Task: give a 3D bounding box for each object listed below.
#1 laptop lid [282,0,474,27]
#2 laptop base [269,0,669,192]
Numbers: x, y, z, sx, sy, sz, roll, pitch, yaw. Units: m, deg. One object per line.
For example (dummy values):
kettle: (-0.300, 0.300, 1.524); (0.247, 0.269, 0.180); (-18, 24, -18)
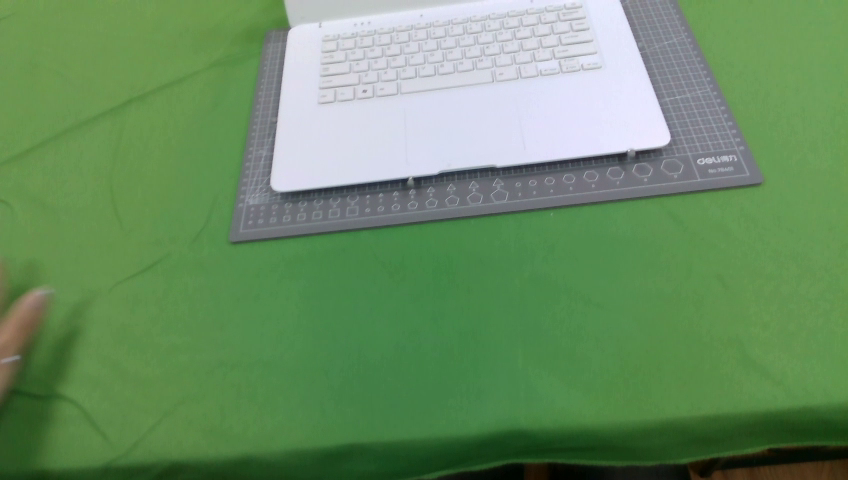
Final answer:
laptop lid: (0.010, -0.351, 0.606); (0.356, 0.243, 0.013); (-8, 27, 4)
laptop base: (0.031, -0.153, 0.593); (0.354, 0.023, 0.233); (-6, 58, 3)
